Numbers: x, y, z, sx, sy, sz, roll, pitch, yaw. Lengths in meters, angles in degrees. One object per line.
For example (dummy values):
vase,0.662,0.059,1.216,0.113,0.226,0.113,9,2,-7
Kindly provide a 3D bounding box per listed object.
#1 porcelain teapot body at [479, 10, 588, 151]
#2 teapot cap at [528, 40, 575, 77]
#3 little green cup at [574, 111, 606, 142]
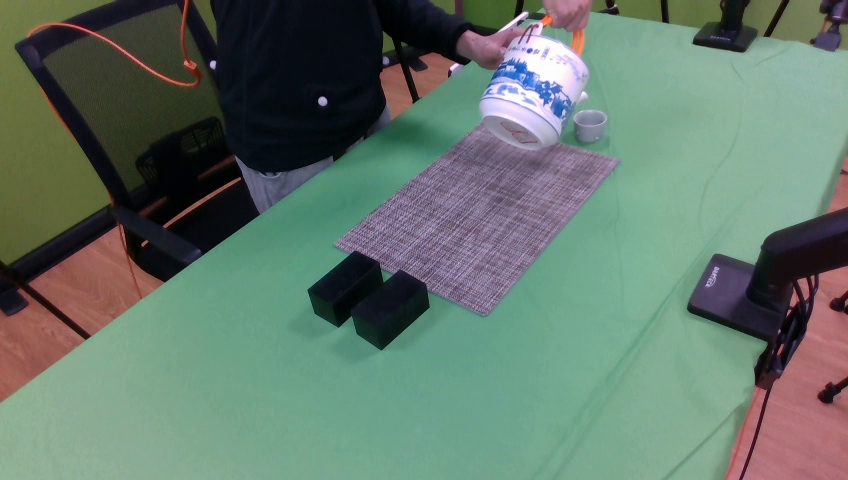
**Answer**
porcelain teapot body,0.213,-0.261,1.028,0.144,0.207,0.225,20,80,43
teapot cap,0.214,-0.308,1.009,0.084,0.086,0.044,24,79,32
little green cup,0.318,-0.218,1.164,0.061,0.039,0.061,-3,41,3
